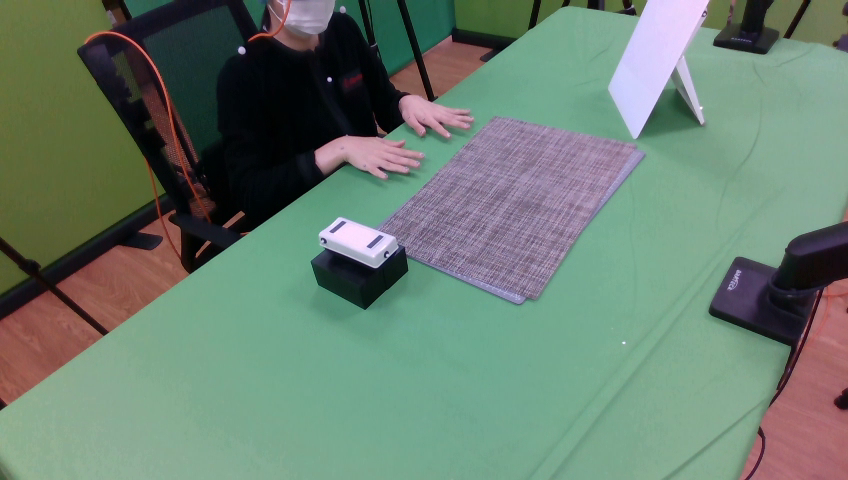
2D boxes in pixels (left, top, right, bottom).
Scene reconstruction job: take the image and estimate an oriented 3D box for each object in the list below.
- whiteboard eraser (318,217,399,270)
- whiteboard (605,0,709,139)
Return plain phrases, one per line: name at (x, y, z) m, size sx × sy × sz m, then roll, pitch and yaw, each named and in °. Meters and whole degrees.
whiteboard eraser at (-0.097, 0.006, 0.887) m, size 0.112 × 0.042 × 0.056 m, roll 20°, pitch 49°, yaw 29°
whiteboard at (0.496, -0.358, 1.146) m, size 0.144 × 0.305 × 0.216 m, roll 10°, pitch 40°, yaw -8°
